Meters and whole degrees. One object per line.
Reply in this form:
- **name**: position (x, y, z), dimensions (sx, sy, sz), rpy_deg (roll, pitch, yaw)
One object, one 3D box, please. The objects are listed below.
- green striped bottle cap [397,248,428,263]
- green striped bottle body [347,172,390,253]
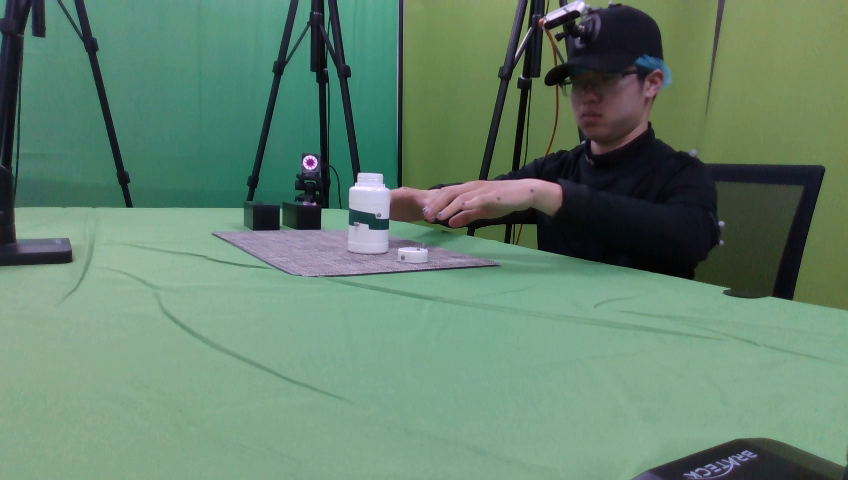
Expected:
- **green striped bottle cap**: position (-0.016, 0.022, 0.851), dimensions (0.044, 0.020, 0.044), rpy_deg (0, 4, 0)
- **green striped bottle body**: position (-0.083, -0.042, 0.913), dimensions (0.063, 0.119, 0.063), rpy_deg (3, 7, 0)
